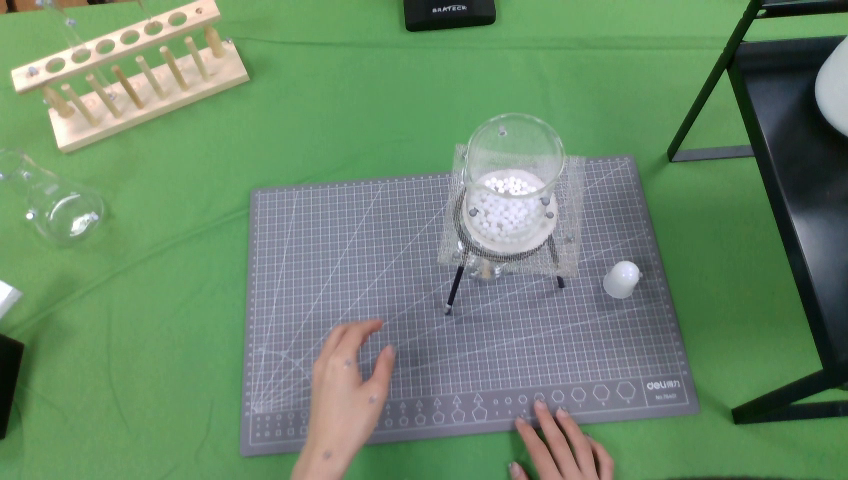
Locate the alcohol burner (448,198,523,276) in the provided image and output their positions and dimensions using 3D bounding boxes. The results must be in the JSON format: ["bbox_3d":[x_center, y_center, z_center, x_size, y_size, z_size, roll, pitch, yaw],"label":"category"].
[{"bbox_3d":[0.063,-0.009,0.613,0.078,0.120,0.077,0,65,1],"label":"alcohol burner"}]

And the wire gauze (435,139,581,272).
[{"bbox_3d":[0.078,-0.033,0.540,0.121,0.011,0.124,8,65,3],"label":"wire gauze"}]

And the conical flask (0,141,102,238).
[{"bbox_3d":[-0.412,-0.058,0.650,0.075,0.123,0.075,-1,66,2],"label":"conical flask"}]

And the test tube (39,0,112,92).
[{"bbox_3d":[-0.395,-0.225,0.688,0.017,0.151,0.017,-1,60,1],"label":"test tube"}]

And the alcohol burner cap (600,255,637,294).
[{"bbox_3d":[0.204,0.033,0.629,0.034,0.048,0.033,-1,66,2],"label":"alcohol burner cap"}]

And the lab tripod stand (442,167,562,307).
[{"bbox_3d":[0.075,-0.001,0.599,0.148,0.132,0.147,0,65,1],"label":"lab tripod stand"}]

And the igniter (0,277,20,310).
[{"bbox_3d":[-0.485,0.152,0.561,0.057,0.025,0.275,21,68,21],"label":"igniter"}]

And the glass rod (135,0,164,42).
[{"bbox_3d":[-0.325,-0.271,0.687,0.008,0.201,0.008,-2,58,4],"label":"glass rod"}]

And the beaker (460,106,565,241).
[{"bbox_3d":[0.066,-0.047,0.494,0.084,0.101,0.073,-27,68,-9],"label":"beaker"}]

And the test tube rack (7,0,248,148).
[{"bbox_3d":[-0.350,-0.205,0.732,0.242,0.086,0.066,-25,67,-9],"label":"test tube rack"}]

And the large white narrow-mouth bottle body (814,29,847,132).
[{"bbox_3d":[0.376,-0.160,0.431,0.102,0.196,0.101,-1,66,3],"label":"large white narrow-mouth bottle body"}]
